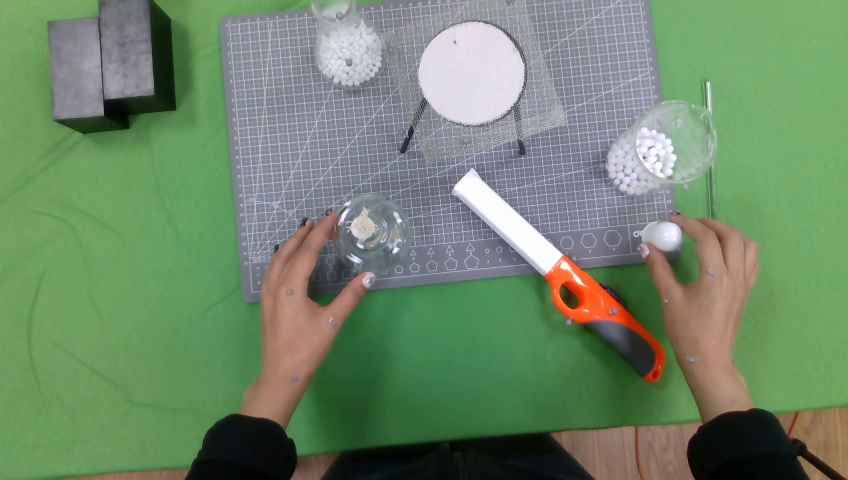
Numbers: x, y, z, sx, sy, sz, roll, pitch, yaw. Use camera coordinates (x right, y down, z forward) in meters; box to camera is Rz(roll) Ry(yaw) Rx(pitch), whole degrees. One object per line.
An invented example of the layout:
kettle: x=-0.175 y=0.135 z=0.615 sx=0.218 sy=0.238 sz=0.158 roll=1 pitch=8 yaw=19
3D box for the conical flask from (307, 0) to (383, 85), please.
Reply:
conical flask: x=-0.081 y=-0.200 z=0.573 sx=0.075 sy=0.122 sz=0.075 roll=0 pitch=86 yaw=1

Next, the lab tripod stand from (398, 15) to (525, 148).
lab tripod stand: x=0.037 y=-0.135 z=0.564 sx=0.148 sy=0.131 sz=0.148 roll=0 pitch=88 yaw=1

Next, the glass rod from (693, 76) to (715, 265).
glass rod: x=0.291 y=-0.074 z=0.628 sx=0.008 sy=0.008 sz=0.199 roll=-3 pitch=86 yaw=0

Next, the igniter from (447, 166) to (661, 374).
igniter: x=0.133 y=0.030 z=0.609 sx=0.276 sy=0.025 sz=0.057 roll=43 pitch=71 yaw=1

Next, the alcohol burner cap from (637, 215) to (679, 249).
alcohol burner cap: x=0.229 y=-0.008 z=0.584 sx=0.034 sy=0.048 sz=0.034 roll=0 pitch=90 yaw=2

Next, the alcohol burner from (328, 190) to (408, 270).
alcohol burner: x=-0.055 y=-0.012 z=0.567 sx=0.078 sy=0.119 sz=0.077 roll=0 pitch=85 yaw=2

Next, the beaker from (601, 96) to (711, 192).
beaker: x=0.218 y=-0.088 z=0.579 sx=0.084 sy=0.100 sz=0.074 roll=-43 pitch=87 yaw=-3

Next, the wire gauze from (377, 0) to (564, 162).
wire gauze: x=0.038 y=-0.137 z=0.497 sx=0.125 sy=0.011 sz=0.121 roll=-19 pitch=87 yaw=-1
